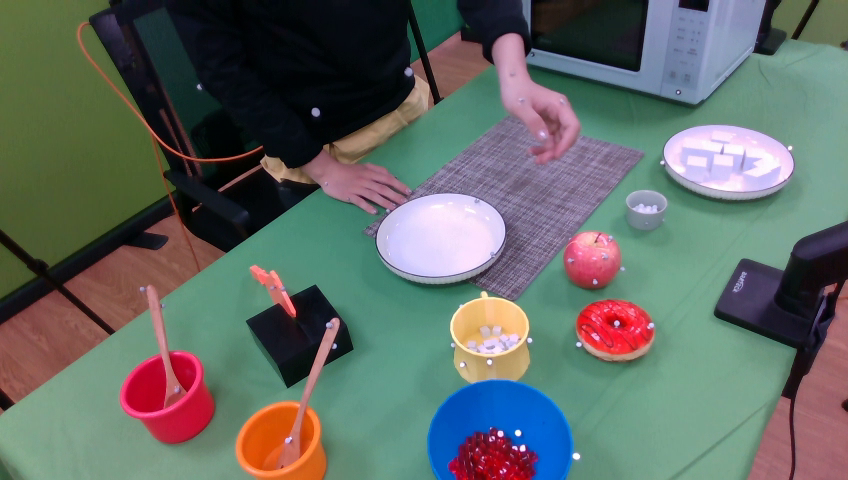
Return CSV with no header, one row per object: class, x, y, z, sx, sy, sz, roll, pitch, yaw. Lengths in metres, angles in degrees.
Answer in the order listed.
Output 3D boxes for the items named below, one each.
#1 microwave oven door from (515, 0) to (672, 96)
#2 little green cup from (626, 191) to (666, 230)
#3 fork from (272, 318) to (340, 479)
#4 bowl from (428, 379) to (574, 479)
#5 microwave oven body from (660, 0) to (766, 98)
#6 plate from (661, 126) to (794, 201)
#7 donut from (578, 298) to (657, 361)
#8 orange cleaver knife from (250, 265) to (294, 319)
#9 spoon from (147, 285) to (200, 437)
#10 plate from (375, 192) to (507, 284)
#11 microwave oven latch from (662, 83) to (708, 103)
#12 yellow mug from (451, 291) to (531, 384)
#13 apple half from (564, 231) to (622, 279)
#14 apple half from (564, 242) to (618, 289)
microwave oven door,0.344,-0.455,1.259,0.353,0.245,0.039,26,51,33
little green cup,0.352,-0.046,0.963,0.061,0.039,0.061,-4,40,4
fork,-0.131,0.186,0.676,0.028,0.019,0.207,17,90,28
bowl,0.082,0.233,0.644,0.151,0.077,0.150,-4,39,4
microwave oven body,0.472,-0.513,1.317,0.438,0.261,0.327,26,51,34
plate,0.513,-0.128,1.035,0.207,0.039,0.206,-4,40,4
donut,0.250,0.114,0.786,0.099,0.048,0.098,-5,37,4
orange cleaver knife,-0.221,0.073,0.876,0.012,0.077,0.210,-24,12,-22
spoon,-0.318,0.148,0.754,0.042,0.021,0.193,-15,86,-6
plate,0.027,0.000,0.952,0.209,0.038,0.208,-4,40,4
microwave oven latch,0.518,-0.297,1.205,0.078,0.029,0.030,29,53,36
yellow mug,0.085,0.120,0.786,0.100,0.064,0.130,-7,39,1
apple half,0.248,0.021,0.874,0.080,0.075,0.053,13,40,29
apple half,0.229,0.044,0.848,0.081,0.081,0.033,16,41,26
